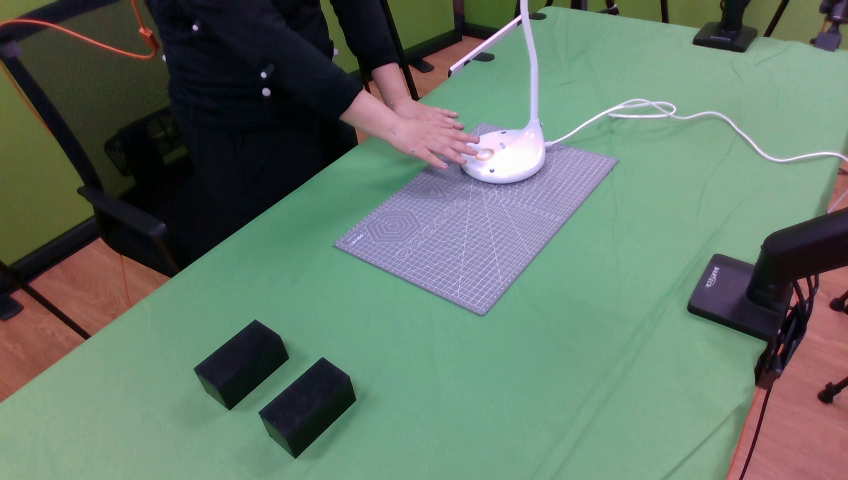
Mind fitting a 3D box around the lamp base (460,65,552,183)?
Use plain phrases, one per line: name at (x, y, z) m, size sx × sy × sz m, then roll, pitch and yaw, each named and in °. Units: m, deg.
lamp base at (0.149, -0.218, 1.078) m, size 0.180 × 0.181 × 0.159 m, roll -19°, pitch 41°, yaw -17°
